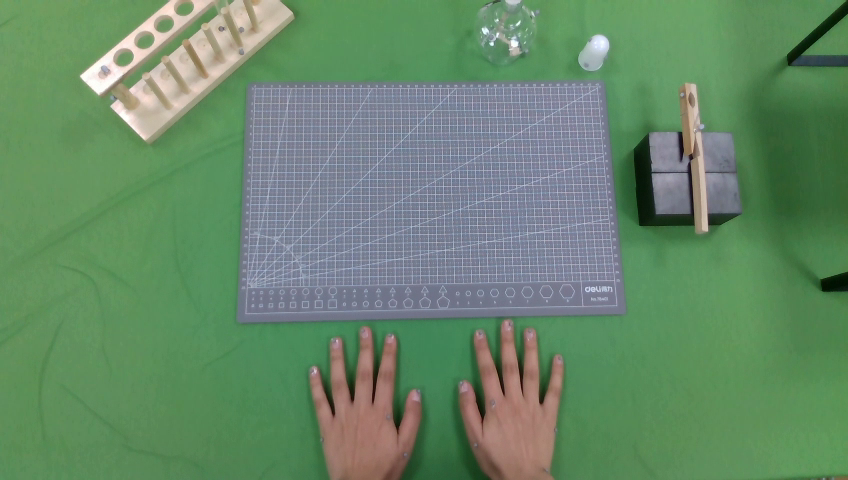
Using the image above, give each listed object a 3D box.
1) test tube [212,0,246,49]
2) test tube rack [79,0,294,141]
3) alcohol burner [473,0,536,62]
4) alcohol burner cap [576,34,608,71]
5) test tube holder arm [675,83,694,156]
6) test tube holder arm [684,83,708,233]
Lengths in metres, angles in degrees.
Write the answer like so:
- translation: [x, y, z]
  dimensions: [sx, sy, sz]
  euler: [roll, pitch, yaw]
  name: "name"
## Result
- translation: [-0.228, -0.265, 0.683]
  dimensions: [0.017, 0.151, 0.017]
  euler: [0, 74, -1]
  name: "test tube"
- translation: [-0.273, -0.235, 0.720]
  dimensions: [0.066, 0.085, 0.242]
  euler: [43, 79, 8]
  name: "test tube rack"
- translation: [0.099, -0.267, 0.728]
  dimensions: [0.078, 0.119, 0.077]
  euler: [1, 76, -3]
  name: "alcohol burner"
- translation: [0.213, -0.239, 0.763]
  dimensions: [0.034, 0.048, 0.033]
  euler: [1, 76, -2]
  name: "alcohol burner cap"
- translation: [0.304, -0.140, 0.706]
  dimensions: [0.010, 0.015, 0.087]
  euler: [1, 78, -10]
  name: "test tube holder arm"
- translation: [0.311, -0.096, 0.698]
  dimensions: [0.013, 0.015, 0.177]
  euler: [0, 78, -10]
  name: "test tube holder arm"
